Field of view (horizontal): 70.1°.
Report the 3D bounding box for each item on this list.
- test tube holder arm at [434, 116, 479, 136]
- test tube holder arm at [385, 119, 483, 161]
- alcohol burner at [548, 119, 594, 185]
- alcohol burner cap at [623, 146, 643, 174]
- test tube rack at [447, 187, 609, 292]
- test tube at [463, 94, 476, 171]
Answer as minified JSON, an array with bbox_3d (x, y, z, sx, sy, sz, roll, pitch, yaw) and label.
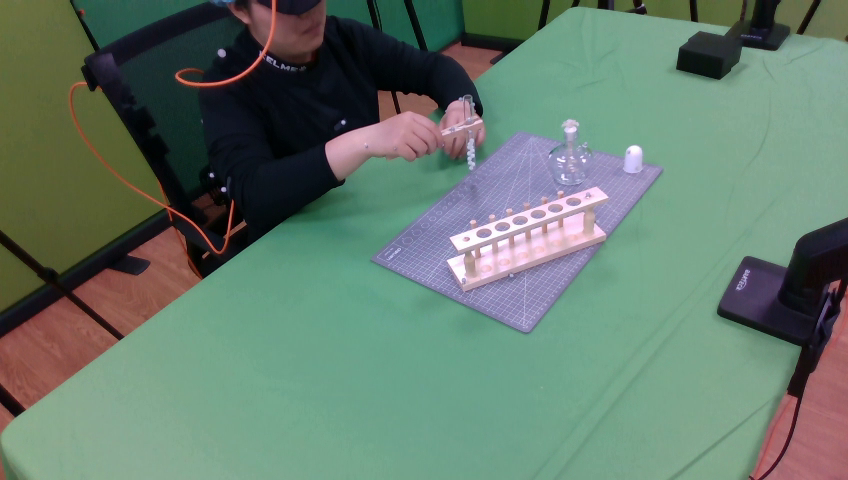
[{"bbox_3d":[0.055,-0.187,1.023,0.088,0.015,0.010,-27,41,-21],"label":"test tube holder arm"},{"bbox_3d":[0.019,-0.167,1.005,0.179,0.015,0.013,-23,39,-16],"label":"test tube holder arm"},{"bbox_3d":[0.254,-0.155,1.043,0.078,0.120,0.077,-7,40,6],"label":"alcohol burner"},{"bbox_3d":[0.369,-0.143,1.061,0.034,0.048,0.033,-6,41,6],"label":"alcohol burner cap"},{"bbox_3d":[0.155,-0.011,0.913,0.243,0.085,0.066,-19,41,-11],"label":"test tube rack"},{"bbox_3d":[0.079,-0.181,1.040,0.017,0.151,0.017,-4,43,4],"label":"test tube"}]
